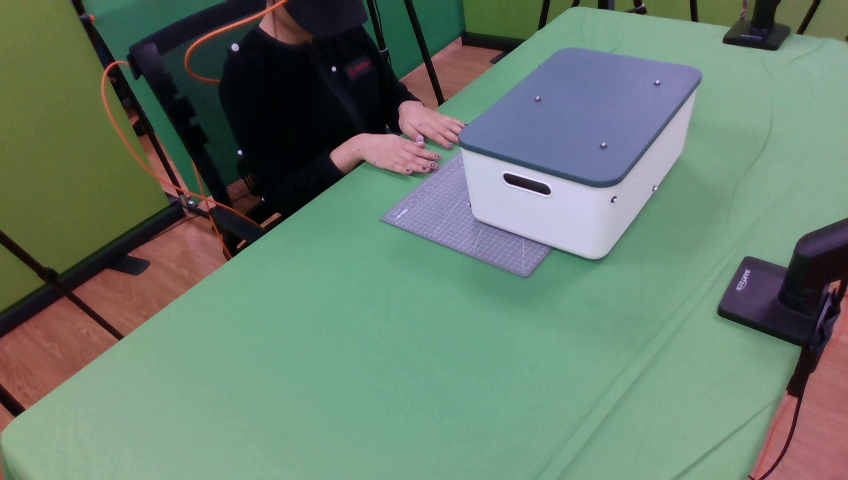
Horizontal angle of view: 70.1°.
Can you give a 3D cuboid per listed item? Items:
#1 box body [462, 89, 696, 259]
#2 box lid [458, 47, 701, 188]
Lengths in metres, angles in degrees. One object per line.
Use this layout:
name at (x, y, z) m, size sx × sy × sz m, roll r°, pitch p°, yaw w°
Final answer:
box body at (0.261, -0.153, 1.001) m, size 0.252 × 0.161 × 0.365 m, roll 21°, pitch 48°, yaw 31°
box lid at (0.253, -0.211, 0.954) m, size 0.261 × 0.015 × 0.372 m, roll 22°, pitch 49°, yaw 30°
